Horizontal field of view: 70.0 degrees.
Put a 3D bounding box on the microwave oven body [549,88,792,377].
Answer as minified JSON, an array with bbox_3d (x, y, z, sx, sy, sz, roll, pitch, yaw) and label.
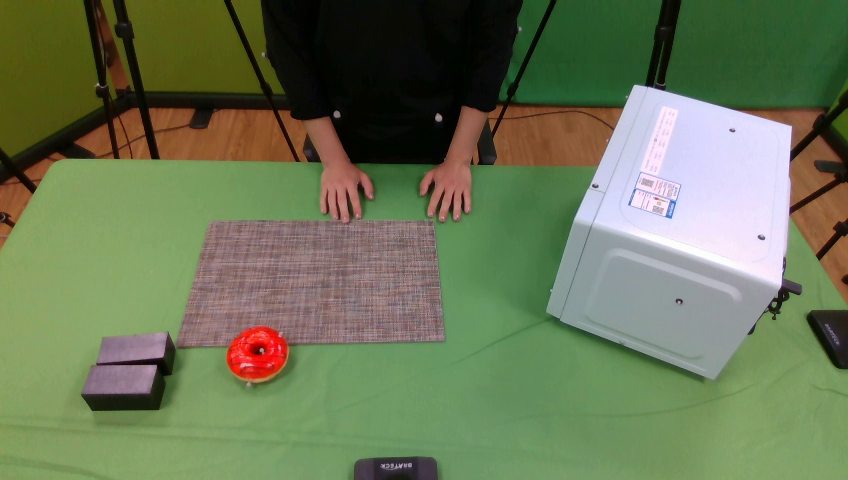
[{"bbox_3d":[0.456,-0.028,1.088,0.325,0.261,0.440,20,47,16],"label":"microwave oven body"}]

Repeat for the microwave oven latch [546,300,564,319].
[{"bbox_3d":[0.242,0.102,1.081,0.030,0.029,0.079,21,48,17],"label":"microwave oven latch"}]

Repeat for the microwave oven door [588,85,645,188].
[{"bbox_3d":[0.342,-0.107,1.149,0.039,0.245,0.354,20,48,15],"label":"microwave oven door"}]

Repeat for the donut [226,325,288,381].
[{"bbox_3d":[-0.270,0.182,0.984,0.099,0.048,0.098,5,49,-5],"label":"donut"}]
